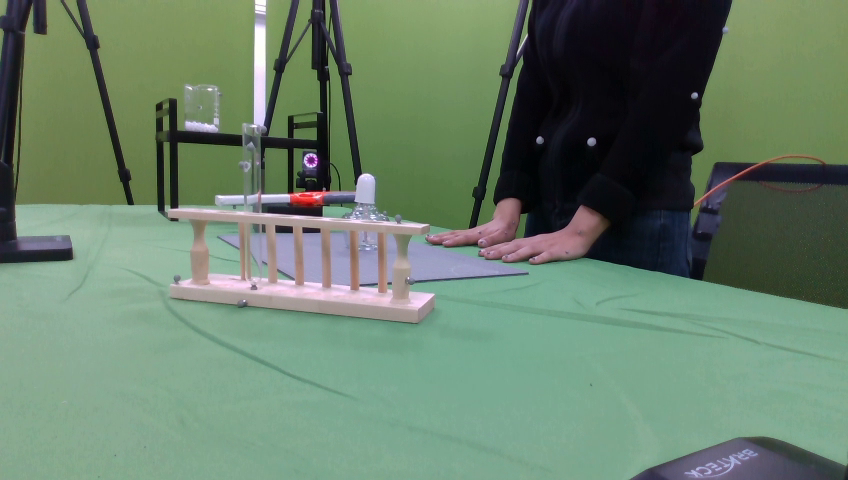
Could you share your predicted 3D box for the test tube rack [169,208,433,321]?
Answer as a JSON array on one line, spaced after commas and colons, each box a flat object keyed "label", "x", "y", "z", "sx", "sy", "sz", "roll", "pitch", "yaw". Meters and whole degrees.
[{"label": "test tube rack", "x": -0.115, "y": 0.017, "z": 0.574, "sx": 0.242, "sy": 0.085, "sz": 0.067, "roll": 4, "pitch": 8, "yaw": 13}]

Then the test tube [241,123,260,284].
[{"label": "test tube", "x": -0.160, "y": -0.032, "z": 0.558, "sx": 0.017, "sy": 0.150, "sz": 0.017, "roll": 3, "pitch": 13, "yaw": 0}]

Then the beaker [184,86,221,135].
[{"label": "beaker", "x": -0.475, "y": -0.277, "z": 1.296, "sx": 0.074, "sy": 0.100, "sz": 0.084, "roll": 2, "pitch": 8, "yaw": -1}]

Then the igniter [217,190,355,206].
[{"label": "igniter", "x": -0.248, "y": -0.079, "z": 1.152, "sx": 0.278, "sy": 0.025, "sz": 0.057, "roll": -4, "pitch": 11, "yaw": -27}]

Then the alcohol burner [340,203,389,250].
[{"label": "alcohol burner", "x": -0.093, "y": -0.045, "z": 0.939, "sx": 0.078, "sy": 0.119, "sz": 0.078, "roll": 0, "pitch": 7, "yaw": 0}]

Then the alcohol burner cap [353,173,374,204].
[{"label": "alcohol burner cap", "x": -0.092, "y": -0.081, "z": 0.936, "sx": 0.034, "sy": 0.048, "sz": 0.034, "roll": 6, "pitch": 10, "yaw": -1}]
